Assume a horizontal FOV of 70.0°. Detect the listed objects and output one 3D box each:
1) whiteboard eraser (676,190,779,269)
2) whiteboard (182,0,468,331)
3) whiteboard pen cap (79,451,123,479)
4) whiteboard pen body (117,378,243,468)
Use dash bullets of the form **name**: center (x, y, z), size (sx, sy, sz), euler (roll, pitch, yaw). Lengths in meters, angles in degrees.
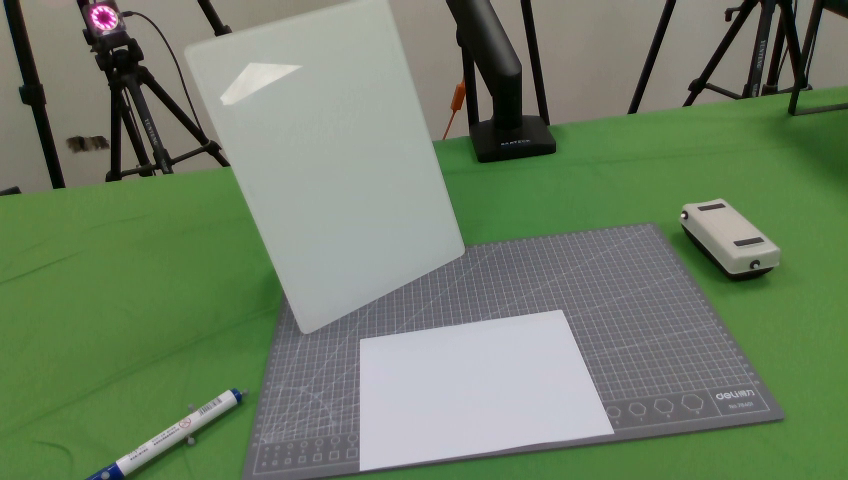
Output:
- **whiteboard eraser**: center (0.330, -0.012, 0.666), size (0.055, 0.042, 0.111), euler (-12, 36, -3)
- **whiteboard**: center (-0.114, -0.094, 0.688), size (0.217, 0.307, 0.143), euler (-26, 19, -23)
- **whiteboard pen cap**: center (-0.268, 0.191, 0.506), size (0.033, 0.018, 0.018), euler (-32, 42, -32)
- **whiteboard pen body**: center (-0.225, 0.166, 0.536), size (0.141, 0.017, 0.017), euler (-32, 42, -32)
